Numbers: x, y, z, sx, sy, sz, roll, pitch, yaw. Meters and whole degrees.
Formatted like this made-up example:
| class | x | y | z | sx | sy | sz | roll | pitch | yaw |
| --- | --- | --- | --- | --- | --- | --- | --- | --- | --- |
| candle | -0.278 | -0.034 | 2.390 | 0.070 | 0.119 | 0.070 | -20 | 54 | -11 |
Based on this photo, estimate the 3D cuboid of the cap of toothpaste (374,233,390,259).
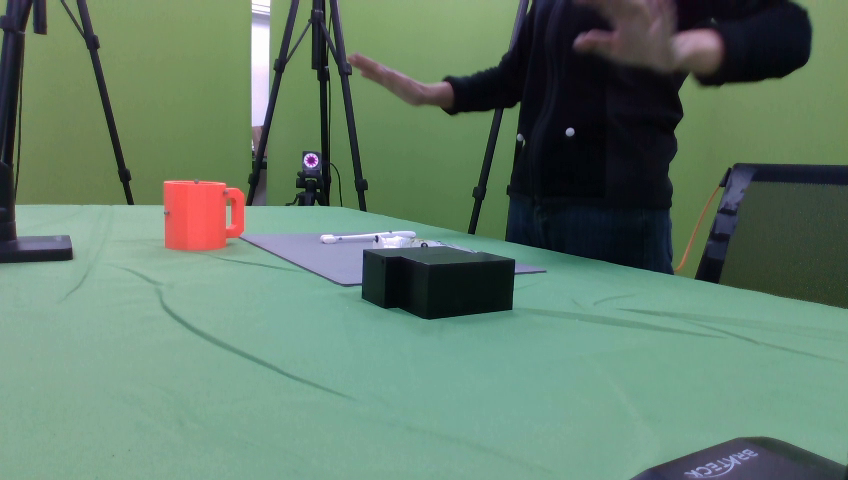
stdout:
| class | x | y | z | sx | sy | sz | roll | pitch | yaw |
| --- | --- | --- | --- | --- | --- | --- | --- | --- | --- |
| cap of toothpaste | -0.058 | 0.009 | 0.825 | 0.011 | 0.037 | 0.037 | -4 | 9 | -30 |

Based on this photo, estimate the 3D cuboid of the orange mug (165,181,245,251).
| class | x | y | z | sx | sy | sz | roll | pitch | yaw |
| --- | --- | --- | --- | --- | --- | --- | --- | --- | --- |
| orange mug | -0.326 | -0.040 | 0.911 | 0.083 | 0.101 | 0.127 | 8 | 14 | 37 |

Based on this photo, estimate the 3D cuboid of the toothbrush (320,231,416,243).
| class | x | y | z | sx | sy | sz | roll | pitch | yaw |
| --- | --- | --- | --- | --- | --- | --- | --- | --- | --- |
| toothbrush | -0.089 | -0.006 | 1.025 | 0.183 | 0.014 | 0.016 | -3 | 13 | -34 |

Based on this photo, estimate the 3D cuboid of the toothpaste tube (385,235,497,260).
| class | x | y | z | sx | sy | sz | roll | pitch | yaw |
| --- | --- | --- | --- | --- | --- | --- | --- | --- | --- |
| toothpaste tube | 0.020 | 0.014 | 0.852 | 0.166 | 0.034 | 0.055 | 4 | 13 | -20 |
